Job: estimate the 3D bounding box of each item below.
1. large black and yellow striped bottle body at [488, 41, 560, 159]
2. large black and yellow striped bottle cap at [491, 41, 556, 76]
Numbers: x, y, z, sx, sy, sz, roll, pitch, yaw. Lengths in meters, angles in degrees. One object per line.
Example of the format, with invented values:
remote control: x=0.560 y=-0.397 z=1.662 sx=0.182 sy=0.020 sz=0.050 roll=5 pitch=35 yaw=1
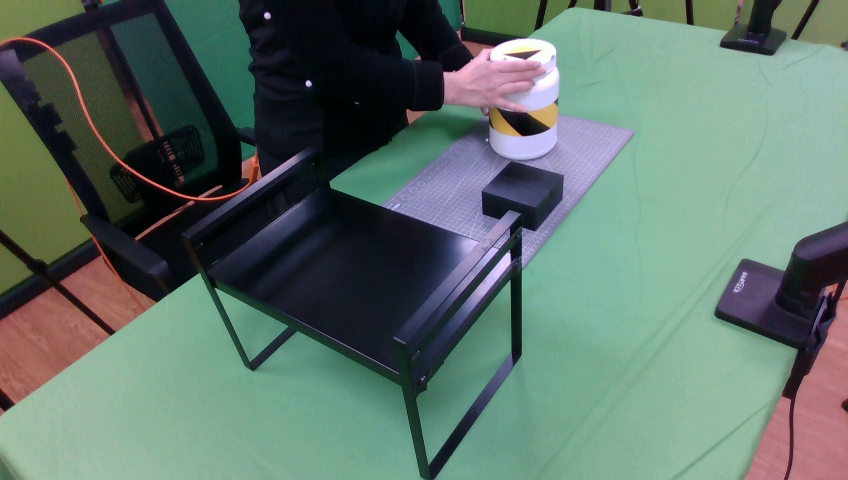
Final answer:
large black and yellow striped bottle body: x=0.185 y=-0.260 z=1.122 sx=0.131 sy=0.185 sz=0.130 roll=-4 pitch=41 yaw=4
large black and yellow striped bottle cap: x=0.175 y=-0.322 z=1.067 sx=0.115 sy=0.019 sz=0.114 roll=-4 pitch=39 yaw=4
